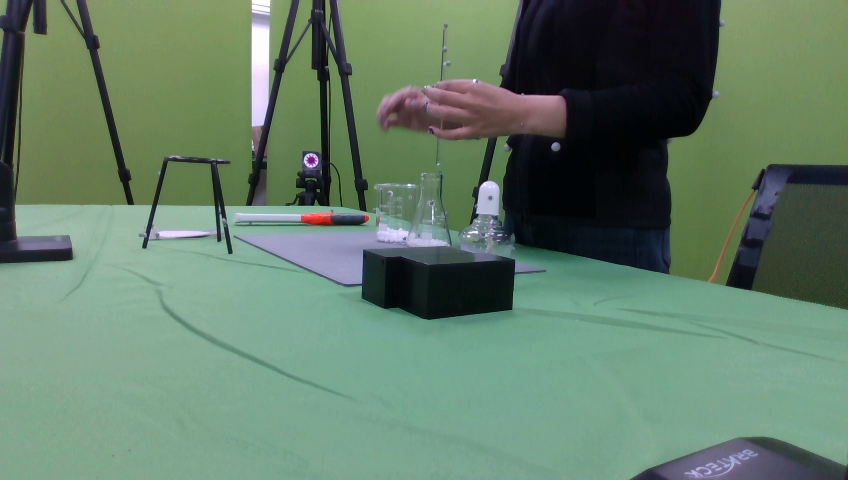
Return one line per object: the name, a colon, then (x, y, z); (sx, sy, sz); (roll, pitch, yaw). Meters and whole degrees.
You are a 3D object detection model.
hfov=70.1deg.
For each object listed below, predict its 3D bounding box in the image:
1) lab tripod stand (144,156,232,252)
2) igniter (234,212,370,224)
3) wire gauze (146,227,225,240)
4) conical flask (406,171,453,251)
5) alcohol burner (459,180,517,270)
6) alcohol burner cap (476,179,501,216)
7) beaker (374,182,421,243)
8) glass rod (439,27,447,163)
lab tripod stand: (-0.325, -0.054, 0.881); (0.148, 0.131, 0.148); (4, 7, 0)
igniter: (-0.247, -0.046, 1.253); (0.278, 0.025, 0.057); (-1, -3, -27)
wire gauze: (-0.400, -0.012, 1.019); (0.122, 0.011, 0.124); (-1, 6, -26)
conical flask: (0.011, -0.046, 0.948); (0.075, 0.122, 0.075); (2, 7, 0)
alcohol burner: (0.086, -0.021, 0.805); (0.078, 0.119, 0.078); (3, 9, 0)
alcohol burner cap: (0.086, -0.056, 0.801); (0.034, 0.048, 0.034); (4, 2, 0)
beaker: (-0.049, -0.048, 1.031); (0.083, 0.100, 0.074); (5, 7, 24)
glass rod: (0.028, -0.213, 0.904); (0.008, 0.199, 0.008); (1, 19, 0)
